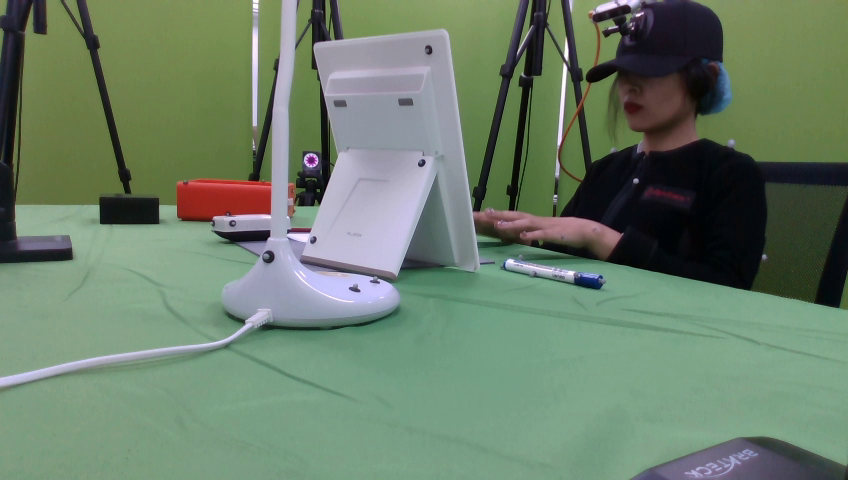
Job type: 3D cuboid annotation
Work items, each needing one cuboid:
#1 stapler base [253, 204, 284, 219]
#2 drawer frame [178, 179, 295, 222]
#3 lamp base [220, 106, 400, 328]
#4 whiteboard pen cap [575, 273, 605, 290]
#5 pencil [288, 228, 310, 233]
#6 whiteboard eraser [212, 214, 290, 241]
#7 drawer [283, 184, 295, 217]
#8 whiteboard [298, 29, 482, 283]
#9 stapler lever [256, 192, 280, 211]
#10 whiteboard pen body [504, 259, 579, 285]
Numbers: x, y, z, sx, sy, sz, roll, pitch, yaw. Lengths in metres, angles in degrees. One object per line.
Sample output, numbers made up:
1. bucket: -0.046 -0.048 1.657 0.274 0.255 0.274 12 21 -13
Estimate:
1. stapler base: -0.336 -0.065 1.308 0.041 0.024 0.130 2 9 -2
2. drawer frame: -0.397 -0.088 1.315 0.214 0.082 0.201 1 8 -7
3. lamp base: -0.101 -0.023 0.531 0.160 0.180 0.179 4 10 10
4. whiteboard pen cap: 0.197 0.047 0.719 0.018 0.018 0.033 -4 11 -41
5. pencil: -0.239 -0.017 1.093 0.195 0.012 0.012 1 7 -27
6. whiteboard eraser: -0.278 -0.021 0.976 0.113 0.042 0.055 -3 10 -40
7. drawer: -0.394 -0.086 1.317 0.212 0.073 0.194 1 8 -7
8. whiteboard: -0.075 -0.082 0.741 0.216 0.305 0.144 9 29 37
9. stapler lever: -0.337 -0.088 1.305 0.027 0.040 0.118 2 11 -2
10. whiteboard pen body: 0.157 0.041 0.764 0.017 0.017 0.140 -4 10 -41
